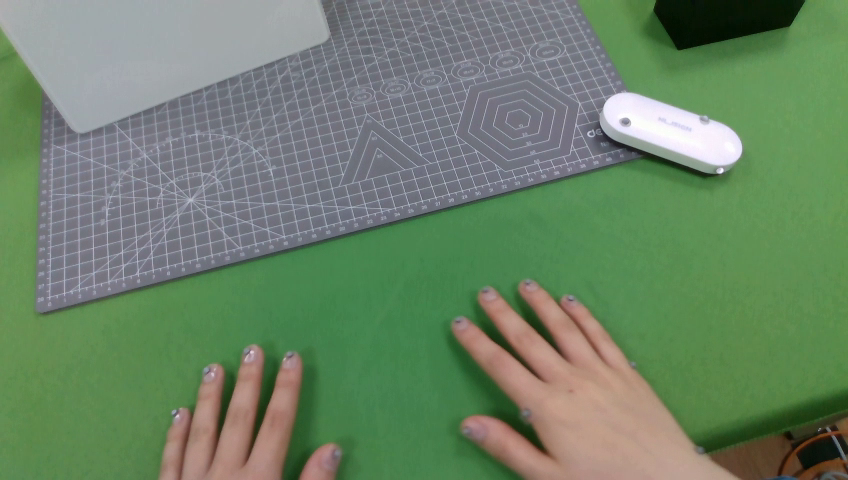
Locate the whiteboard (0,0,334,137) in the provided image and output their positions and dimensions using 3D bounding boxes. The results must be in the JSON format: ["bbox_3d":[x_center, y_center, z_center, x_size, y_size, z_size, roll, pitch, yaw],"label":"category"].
[{"bbox_3d":[-0.226,-0.271,0.432,0.217,0.308,0.142,-24,44,-9],"label":"whiteboard"}]

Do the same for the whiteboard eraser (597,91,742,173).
[{"bbox_3d":[0.178,-0.079,0.441,0.101,0.019,0.041,22,64,11],"label":"whiteboard eraser"}]
